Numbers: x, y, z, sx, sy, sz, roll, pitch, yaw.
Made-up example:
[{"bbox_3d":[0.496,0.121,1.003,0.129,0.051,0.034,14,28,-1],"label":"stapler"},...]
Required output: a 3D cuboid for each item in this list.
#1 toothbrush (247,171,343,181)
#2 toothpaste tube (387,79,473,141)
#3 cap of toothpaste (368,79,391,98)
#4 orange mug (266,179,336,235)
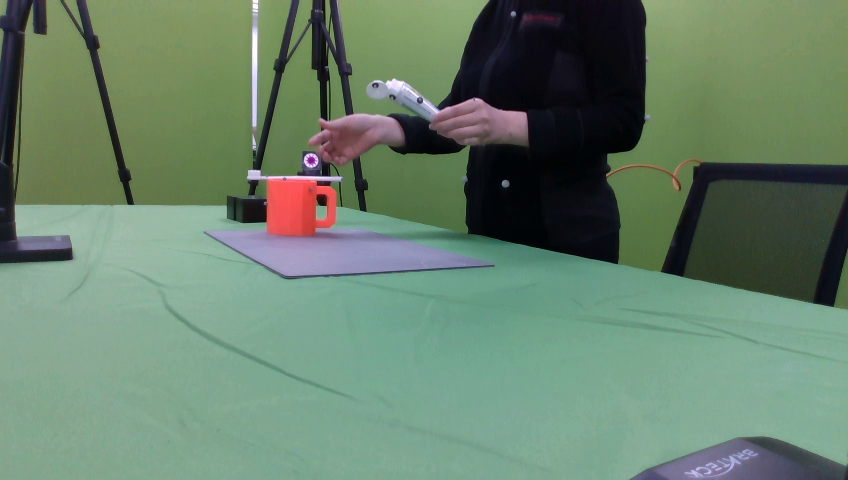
[{"bbox_3d":[-0.230,-0.115,1.092,0.183,0.016,0.014,-2,6,-35],"label":"toothbrush"},{"bbox_3d":[0.008,-0.209,0.975,0.165,0.034,0.055,29,21,-17],"label":"toothpaste tube"},{"bbox_3d":[-0.069,-0.235,0.935,0.037,0.011,0.037,-6,-35,-4],"label":"cap of toothpaste"},{"bbox_3d":[-0.222,-0.062,1.094,0.127,0.101,0.083,-5,10,-22],"label":"orange mug"}]
